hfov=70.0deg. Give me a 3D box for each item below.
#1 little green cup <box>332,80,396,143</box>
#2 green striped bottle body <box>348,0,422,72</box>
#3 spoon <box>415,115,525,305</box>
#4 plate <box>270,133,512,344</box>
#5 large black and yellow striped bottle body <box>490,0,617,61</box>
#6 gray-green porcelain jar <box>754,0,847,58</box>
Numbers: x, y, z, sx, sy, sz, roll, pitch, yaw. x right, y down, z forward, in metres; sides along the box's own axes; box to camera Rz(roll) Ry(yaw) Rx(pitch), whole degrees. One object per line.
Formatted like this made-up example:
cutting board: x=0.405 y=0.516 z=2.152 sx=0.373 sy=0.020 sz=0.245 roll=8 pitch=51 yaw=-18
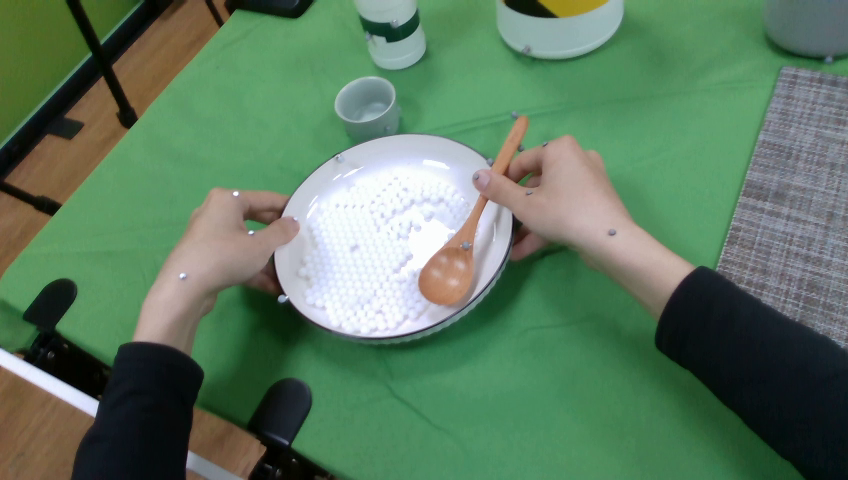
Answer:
little green cup: x=-0.058 y=-0.126 z=0.606 sx=0.061 sy=0.039 sz=0.061 roll=-6 pitch=55 yaw=8
green striped bottle body: x=-0.043 y=-0.240 z=0.628 sx=0.063 sy=0.120 sz=0.062 roll=-6 pitch=56 yaw=9
spoon: x=0.046 y=-0.030 z=0.504 sx=0.041 sy=0.022 sz=0.193 roll=23 pitch=73 yaw=15
plate: x=-0.027 y=-0.003 z=0.521 sx=0.209 sy=0.038 sz=0.207 roll=-6 pitch=57 yaw=9
large black and yellow striped bottle body: x=0.123 y=-0.283 z=0.580 sx=0.130 sy=0.186 sz=0.129 roll=-6 pitch=57 yaw=9
gray-green porcelain jar: x=0.360 y=-0.237 z=0.535 sx=0.106 sy=0.128 sz=0.105 roll=-5 pitch=57 yaw=9
